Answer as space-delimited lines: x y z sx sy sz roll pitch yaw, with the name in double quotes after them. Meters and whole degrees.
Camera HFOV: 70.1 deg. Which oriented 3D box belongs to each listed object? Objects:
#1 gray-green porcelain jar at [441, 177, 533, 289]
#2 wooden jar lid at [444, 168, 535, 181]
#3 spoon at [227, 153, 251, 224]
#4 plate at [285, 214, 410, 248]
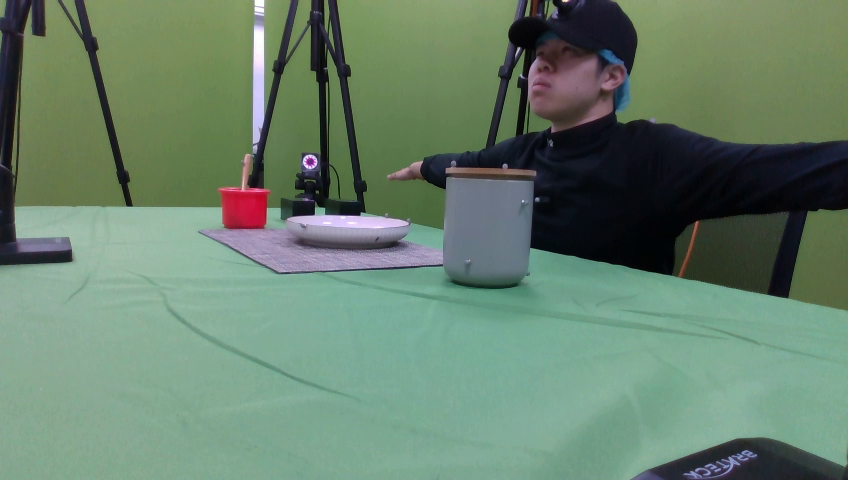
0.075 -0.010 0.727 0.106 0.126 0.106 2 7 0 "gray-green porcelain jar"
0.077 -0.074 0.718 0.108 0.020 0.108 1 5 0 "wooden jar lid"
-0.363 -0.107 1.211 0.042 0.021 0.193 -1 47 -7 "spoon"
-0.127 -0.015 1.012 0.208 0.039 0.207 3 7 0 "plate"
